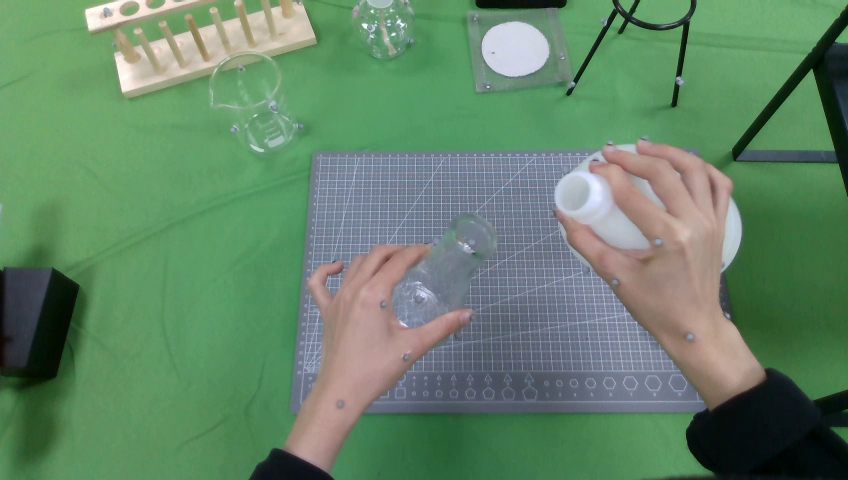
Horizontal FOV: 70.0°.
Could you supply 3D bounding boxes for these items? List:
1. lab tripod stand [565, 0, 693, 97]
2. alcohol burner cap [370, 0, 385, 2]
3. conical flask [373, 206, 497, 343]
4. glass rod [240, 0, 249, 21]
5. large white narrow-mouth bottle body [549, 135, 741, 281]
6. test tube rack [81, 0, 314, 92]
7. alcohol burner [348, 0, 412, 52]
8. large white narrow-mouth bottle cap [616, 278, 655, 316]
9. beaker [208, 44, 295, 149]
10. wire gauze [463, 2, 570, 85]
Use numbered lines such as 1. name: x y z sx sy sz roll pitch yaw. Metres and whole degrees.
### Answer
1. lab tripod stand: 0.242 -0.239 0.691 0.148 0.132 0.147 1 66 -1
2. alcohol burner cap: -0.054 -0.300 0.690 0.034 0.048 0.033 3 66 -7
3. conical flask: 0.013 0.024 0.474 0.076 0.122 0.074 15 50 -18
4. glass rod: -0.218 -0.322 0.682 0.008 0.201 0.008 2 65 -4
5. large white narrow-mouth bottle body: 0.160 -0.025 0.461 0.101 0.196 0.101 -9 77 44
6. test tube rack: -0.265 -0.264 0.730 0.242 0.086 0.066 -19 69 -8
7. alcohol burner: -0.053 -0.284 0.723 0.078 0.120 0.077 0 65 0
8. large white narrow-mouth bottle cap: 0.219 0.060 0.628 0.038 0.024 0.037 -1 67 2
9. beaker: -0.190 -0.153 0.676 0.084 0.101 0.073 -40 72 -15
10. wire gauze: 0.115 -0.253 0.765 0.121 0.011 0.124 -4 67 -3
